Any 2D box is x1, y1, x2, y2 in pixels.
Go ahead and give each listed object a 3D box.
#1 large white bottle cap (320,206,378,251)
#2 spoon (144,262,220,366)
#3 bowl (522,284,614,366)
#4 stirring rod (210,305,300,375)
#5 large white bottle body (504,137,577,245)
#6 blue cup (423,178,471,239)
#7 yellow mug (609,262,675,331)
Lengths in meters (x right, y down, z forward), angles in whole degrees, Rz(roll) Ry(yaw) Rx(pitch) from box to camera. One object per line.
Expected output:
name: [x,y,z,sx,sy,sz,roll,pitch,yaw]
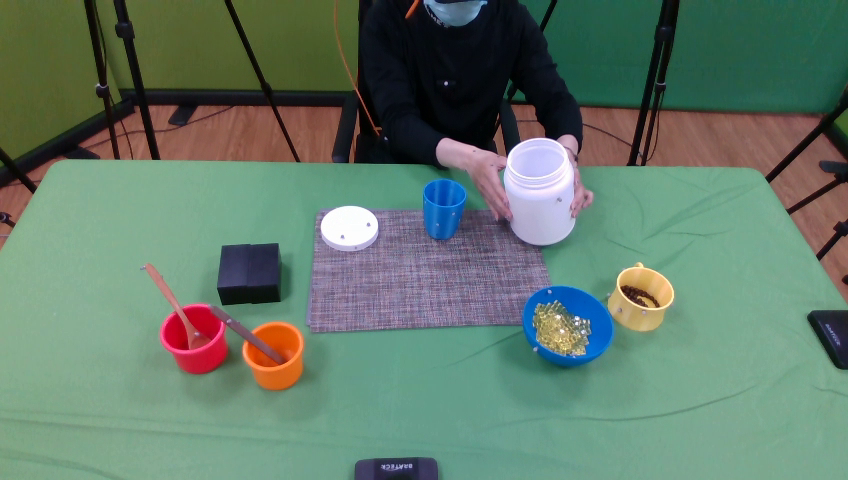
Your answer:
large white bottle cap: [-0.150,-0.024,1.207,0.115,0.018,0.114,2,46,-2]
spoon: [-0.389,0.118,0.971,0.041,0.021,0.194,-34,101,-33]
bowl: [0.235,0.158,1.022,0.151,0.077,0.150,2,46,-2]
stirring rod: [-0.262,0.158,0.946,0.177,0.006,0.014,43,43,-21]
large white bottle body: [0.223,-0.093,1.161,0.130,0.186,0.130,-8,49,10]
blue cup: [0.036,-0.056,1.192,0.093,0.101,0.092,3,45,-3]
yellow mug: [0.393,0.094,1.103,0.100,0.064,0.130,7,45,3]
